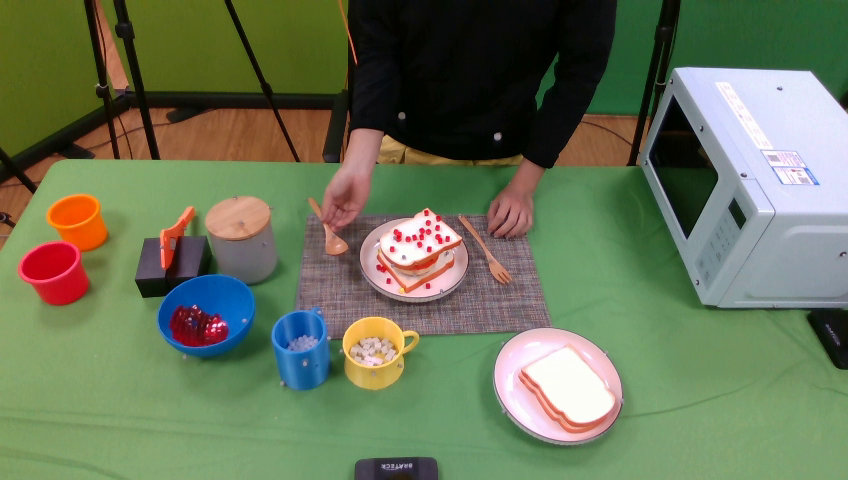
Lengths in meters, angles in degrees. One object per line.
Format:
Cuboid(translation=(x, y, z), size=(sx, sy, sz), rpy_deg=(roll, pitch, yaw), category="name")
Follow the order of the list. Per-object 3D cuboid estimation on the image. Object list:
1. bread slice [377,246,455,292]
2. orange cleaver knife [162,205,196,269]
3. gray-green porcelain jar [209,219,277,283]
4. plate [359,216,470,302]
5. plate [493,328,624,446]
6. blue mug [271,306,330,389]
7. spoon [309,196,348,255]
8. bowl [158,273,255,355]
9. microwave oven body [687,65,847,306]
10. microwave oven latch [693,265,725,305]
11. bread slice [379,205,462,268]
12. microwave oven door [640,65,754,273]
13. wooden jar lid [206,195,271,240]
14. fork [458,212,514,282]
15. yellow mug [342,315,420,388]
Cuboid(translation=(-0.010, 0.033, 1.150), size=(0.131, 0.019, 0.104), rpy_deg=(-28, 56, -24), category="bread slice")
Cuboid(translation=(-0.454, -0.010, 1.129), size=(0.012, 0.077, 0.210), rpy_deg=(-1, 20, -5), category="orange cleaver knife")
Cuboid(translation=(-0.323, 0.007, 1.092), size=(0.106, 0.127, 0.105), rpy_deg=(2, 46, -2), category="gray-green porcelain jar")
Cuboid(translation=(-0.018, 0.038, 1.140), size=(0.209, 0.038, 0.208), rpy_deg=(2, 46, -2), category="plate")
Cuboid(translation=(0.213, 0.236, 0.974), size=(0.208, 0.039, 0.206), rpy_deg=(2, 46, -2), category="plate")
Cuboid(translation=(-0.188, 0.163, 0.969), size=(0.082, 0.106, 0.116), rpy_deg=(15, 47, 10), category="blue mug")
Cuboid(translation=(-0.190, -0.032, 1.166), size=(0.041, 0.022, 0.192), rpy_deg=(-20, 48, -13), category="spoon")
Cuboid(translation=(-0.351, 0.136, 1.001), size=(0.151, 0.077, 0.150), rpy_deg=(2, 46, -2), category="bowl")
Cuboid(translation=(0.669, -0.111, 1.176), size=(0.326, 0.261, 0.439), rpy_deg=(0, 46, -3), category="microwave oven body")
Cuboid(translation=(0.523, 0.081, 1.115), size=(0.030, 0.029, 0.078), rpy_deg=(2, 46, -1), category="microwave oven latch")
Cuboid(translation=(-0.012, -0.001, 1.097), size=(0.134, 0.018, 0.106), rpy_deg=(-33, 51, -23), category="bread slice")
Cuboid(translation=(0.523, -0.147, 1.193), size=(0.039, 0.245, 0.353), rpy_deg=(0, 47, -3), category="microwave oven door")
Cuboid(translation=(-0.319, -0.036, 1.046), size=(0.108, 0.021, 0.107), rpy_deg=(1, 44, -1), category="wooden jar lid")
Cuboid(translation=(0.117, 0.011, 1.188), size=(0.028, 0.019, 0.206), rpy_deg=(-21, 52, -13), category="fork")
Cuboid(translation=(-0.068, 0.177, 0.990), size=(0.131, 0.064, 0.099), rpy_deg=(-15, 50, -19), category="yellow mug")
